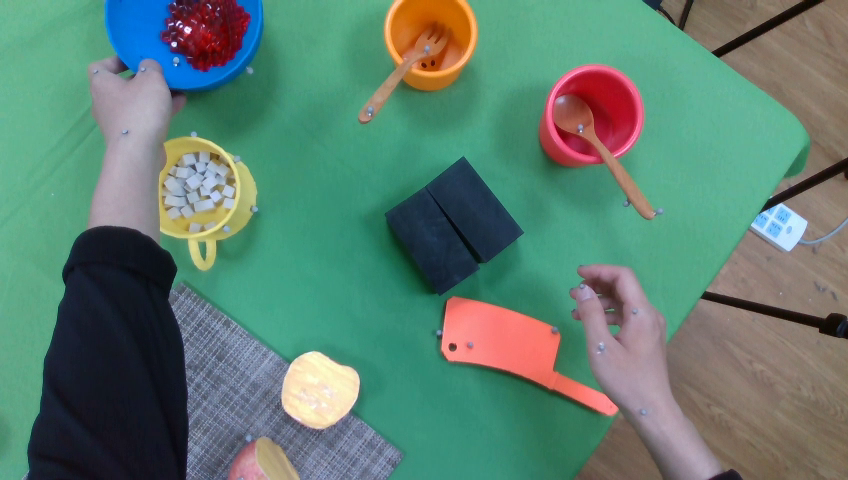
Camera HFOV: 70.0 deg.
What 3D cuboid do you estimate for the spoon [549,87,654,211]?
[{"bbox_3d":[0.172,-0.094,0.594,0.041,0.022,0.191,-18,45,-2],"label":"spoon"}]

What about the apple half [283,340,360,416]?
[{"bbox_3d":[-0.109,0.148,0.629,0.081,0.033,0.080,7,56,-11],"label":"apple half"}]

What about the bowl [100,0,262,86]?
[{"bbox_3d":[-0.232,-0.224,0.613,0.151,0.077,0.151,0,90,-2],"label":"bowl"}]

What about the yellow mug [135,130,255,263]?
[{"bbox_3d":[-0.228,-0.041,0.617,0.100,0.064,0.131,-5,90,-3],"label":"yellow mug"}]

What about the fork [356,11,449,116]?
[{"bbox_3d":[-0.018,-0.175,0.584,0.028,0.019,0.206,31,45,-2],"label":"fork"}]

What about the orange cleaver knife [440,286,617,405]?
[{"bbox_3d":[0.114,0.113,0.651,0.211,0.012,0.077,22,83,-1],"label":"orange cleaver knife"}]

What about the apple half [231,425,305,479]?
[{"bbox_3d":[-0.162,0.233,0.609,0.053,0.074,0.081,-34,94,1],"label":"apple half"}]
